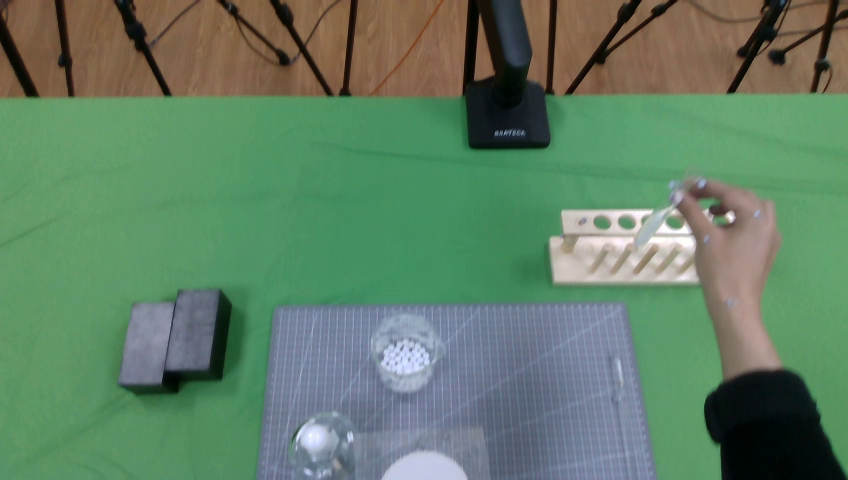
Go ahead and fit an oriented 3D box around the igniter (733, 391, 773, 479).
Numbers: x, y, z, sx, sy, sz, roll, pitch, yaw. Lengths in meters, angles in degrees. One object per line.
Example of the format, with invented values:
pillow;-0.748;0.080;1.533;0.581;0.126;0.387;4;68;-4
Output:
igniter;0.370;0.305;0.662;0.057;0.025;0.274;11;64;-7

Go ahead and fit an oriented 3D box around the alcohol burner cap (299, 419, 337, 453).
alcohol burner cap;-0.109;0.197;0.612;0.034;0.048;0.033;-2;68;5

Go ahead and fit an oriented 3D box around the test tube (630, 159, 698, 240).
test tube;0.237;-0.036;0.609;0.017;0.151;0.017;0;66;0

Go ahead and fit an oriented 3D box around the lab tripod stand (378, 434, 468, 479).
lab tripod stand;-0.003;0.261;0.612;0.148;0.132;0.147;0;63;1

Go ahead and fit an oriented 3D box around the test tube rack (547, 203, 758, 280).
test tube rack;0.288;0.003;0.774;0.242;0.086;0.066;0;64;-1

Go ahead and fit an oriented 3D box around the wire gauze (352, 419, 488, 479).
wire gauze;-0.002;0.228;0.553;0.125;0.011;0.120;-3;63;-3

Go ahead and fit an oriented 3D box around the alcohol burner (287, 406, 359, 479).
alcohol burner;-0.109;0.212;0.645;0.078;0.120;0.077;0;62;0

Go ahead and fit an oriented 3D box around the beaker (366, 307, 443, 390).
beaker;-0.022;0.128;0.695;0.084;0.101;0.073;8;64;2

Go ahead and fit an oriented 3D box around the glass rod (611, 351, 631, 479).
glass rod;0.232;0.227;0.704;0.008;0.008;0.198;1;67;-1
